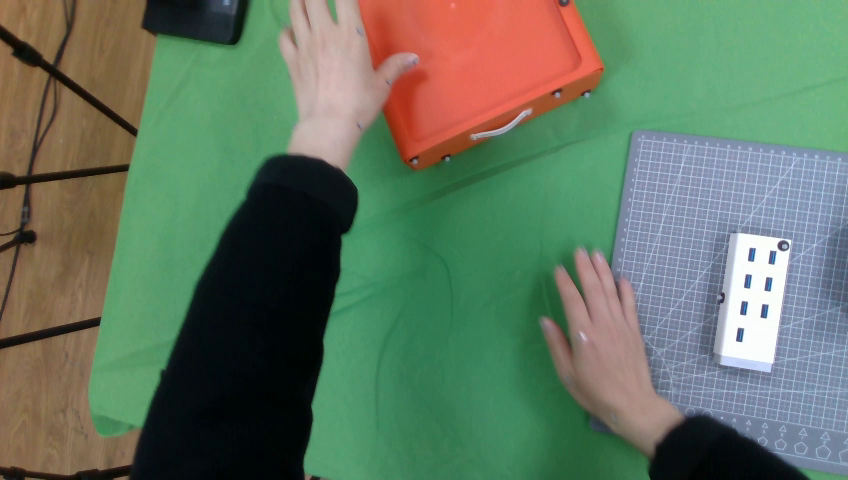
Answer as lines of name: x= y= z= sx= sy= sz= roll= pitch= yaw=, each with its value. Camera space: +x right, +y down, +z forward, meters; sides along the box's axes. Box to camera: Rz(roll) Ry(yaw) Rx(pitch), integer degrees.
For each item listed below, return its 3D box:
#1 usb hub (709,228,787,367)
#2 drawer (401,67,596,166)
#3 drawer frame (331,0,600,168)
usb hub: x=0.304 y=0.053 z=0.569 sx=0.049 sy=0.025 sz=0.125 roll=8 pitch=91 yaw=9
drawer: x=0.032 y=-0.206 z=0.589 sx=0.194 sy=0.073 sz=0.211 roll=-24 pitch=84 yaw=9
drawer frame: x=0.030 y=-0.207 z=0.585 sx=0.201 sy=0.083 sz=0.213 roll=-25 pitch=85 yaw=8
